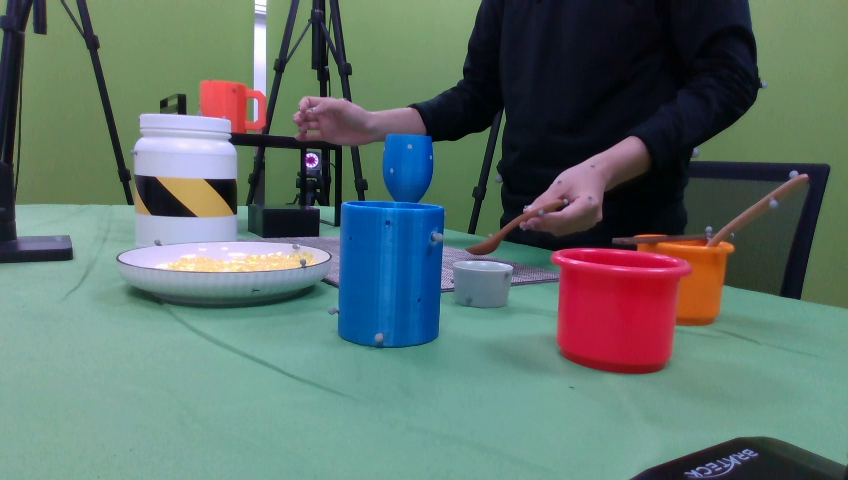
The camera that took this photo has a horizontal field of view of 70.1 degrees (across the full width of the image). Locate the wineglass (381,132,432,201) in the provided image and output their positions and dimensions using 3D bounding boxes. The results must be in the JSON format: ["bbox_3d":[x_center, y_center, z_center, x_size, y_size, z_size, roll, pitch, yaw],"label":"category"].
[{"bbox_3d":[-0.026,-0.062,0.841,0.074,0.172,0.073,2,7,0],"label":"wineglass"}]

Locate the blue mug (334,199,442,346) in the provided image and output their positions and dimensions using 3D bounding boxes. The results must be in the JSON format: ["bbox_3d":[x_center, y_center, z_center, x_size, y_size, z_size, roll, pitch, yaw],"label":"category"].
[{"bbox_3d":[-0.034,0.020,0.498,0.083,0.106,0.116,0,7,-20],"label":"blue mug"}]

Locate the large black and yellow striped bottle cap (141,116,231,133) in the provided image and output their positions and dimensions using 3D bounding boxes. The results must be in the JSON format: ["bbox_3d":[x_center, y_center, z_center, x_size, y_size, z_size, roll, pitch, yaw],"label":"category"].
[{"bbox_3d":[-0.324,-0.157,0.826,0.115,0.019,0.115,1,7,0],"label":"large black and yellow striped bottle cap"}]

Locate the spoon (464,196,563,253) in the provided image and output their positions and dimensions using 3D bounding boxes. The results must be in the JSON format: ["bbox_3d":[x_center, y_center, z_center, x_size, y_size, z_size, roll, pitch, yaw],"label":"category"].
[{"bbox_3d":[0.115,-0.019,0.804,0.042,0.021,0.193,8,-27,-29],"label":"spoon"}]

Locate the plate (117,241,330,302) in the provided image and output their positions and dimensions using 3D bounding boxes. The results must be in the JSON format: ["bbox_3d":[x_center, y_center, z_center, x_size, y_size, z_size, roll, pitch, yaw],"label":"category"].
[{"bbox_3d":[-0.203,0.031,0.630,0.209,0.038,0.209,3,7,0],"label":"plate"}]

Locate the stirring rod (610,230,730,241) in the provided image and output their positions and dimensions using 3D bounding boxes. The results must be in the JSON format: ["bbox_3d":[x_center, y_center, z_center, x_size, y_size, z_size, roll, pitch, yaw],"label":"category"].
[{"bbox_3d":[0.241,-0.005,0.581,0.177,0.006,0.014,-2,10,-34],"label":"stirring rod"}]

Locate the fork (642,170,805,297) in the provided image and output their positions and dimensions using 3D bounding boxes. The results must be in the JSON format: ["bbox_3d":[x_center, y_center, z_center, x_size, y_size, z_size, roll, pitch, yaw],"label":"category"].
[{"bbox_3d":[0.261,0.004,0.545,0.028,0.018,0.207,6,-38,-15],"label":"fork"}]

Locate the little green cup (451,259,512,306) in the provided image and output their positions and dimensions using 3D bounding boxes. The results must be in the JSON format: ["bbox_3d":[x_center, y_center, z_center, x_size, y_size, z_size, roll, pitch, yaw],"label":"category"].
[{"bbox_3d":[0.057,0.043,0.612,0.061,0.038,0.061,3,7,0],"label":"little green cup"}]

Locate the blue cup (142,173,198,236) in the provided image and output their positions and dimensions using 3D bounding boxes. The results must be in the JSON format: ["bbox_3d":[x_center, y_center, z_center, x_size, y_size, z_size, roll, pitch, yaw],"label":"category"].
[{"bbox_3d":[-0.425,-0.060,1.014,0.093,0.100,0.092,4,9,0],"label":"blue cup"}]

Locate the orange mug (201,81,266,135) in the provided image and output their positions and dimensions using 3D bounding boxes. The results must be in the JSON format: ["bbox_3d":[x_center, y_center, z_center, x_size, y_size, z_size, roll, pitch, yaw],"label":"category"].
[{"bbox_3d":[-0.377,-0.260,1.198,0.126,0.101,0.083,-3,8,-6],"label":"orange mug"}]

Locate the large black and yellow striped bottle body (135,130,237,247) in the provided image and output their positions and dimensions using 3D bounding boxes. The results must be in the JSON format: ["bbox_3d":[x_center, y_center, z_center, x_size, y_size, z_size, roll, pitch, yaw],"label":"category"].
[{"bbox_3d":[-0.327,-0.074,0.838,0.131,0.184,0.130,2,7,0],"label":"large black and yellow striped bottle body"}]
